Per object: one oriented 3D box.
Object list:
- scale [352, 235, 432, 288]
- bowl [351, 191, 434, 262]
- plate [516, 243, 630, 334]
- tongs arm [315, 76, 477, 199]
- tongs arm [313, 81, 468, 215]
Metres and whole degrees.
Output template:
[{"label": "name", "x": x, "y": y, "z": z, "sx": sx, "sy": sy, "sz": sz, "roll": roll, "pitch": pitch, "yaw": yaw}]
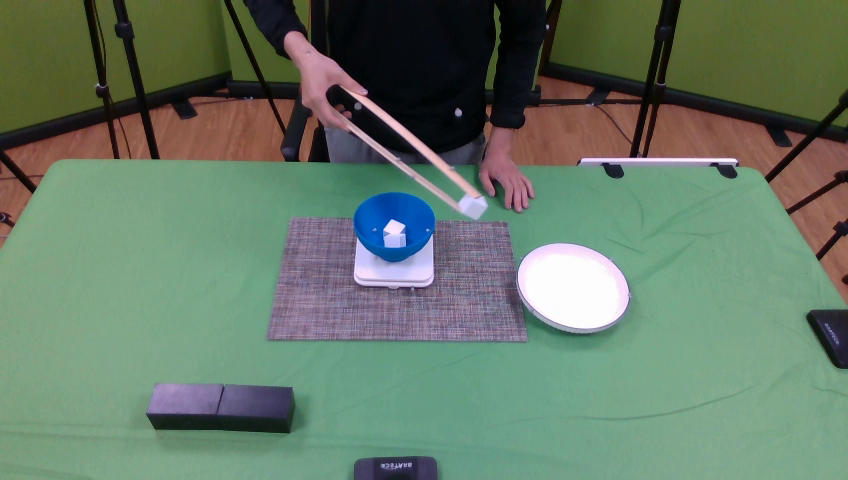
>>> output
[{"label": "scale", "x": -0.060, "y": 0.010, "z": 1.171, "sx": 0.149, "sy": 0.032, "sz": 0.199, "roll": 2, "pitch": 46, "yaw": -3}, {"label": "bowl", "x": -0.057, "y": -0.013, "z": 1.120, "sx": 0.151, "sy": 0.077, "sz": 0.150, "roll": 1, "pitch": 46, "yaw": -1}, {"label": "plate", "x": 0.272, "y": 0.092, "z": 1.120, "sx": 0.208, "sy": 0.039, "sz": 0.206, "roll": 2, "pitch": 46, "yaw": -2}, {"label": "tongs arm", "x": -0.054, "y": -0.188, "z": 1.061, "sx": 0.386, "sy": 0.028, "sz": 0.028, "roll": 41, "pitch": 35, "yaw": 20}, {"label": "tongs arm", "x": -0.065, "y": -0.170, "z": 1.072, "sx": 0.383, "sy": 0.051, "sz": 0.026, "roll": 37, "pitch": 30, "yaw": 22}]
